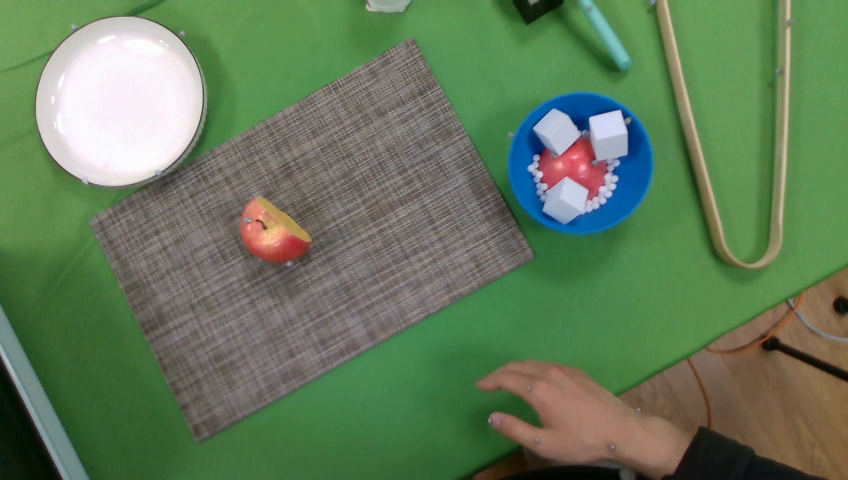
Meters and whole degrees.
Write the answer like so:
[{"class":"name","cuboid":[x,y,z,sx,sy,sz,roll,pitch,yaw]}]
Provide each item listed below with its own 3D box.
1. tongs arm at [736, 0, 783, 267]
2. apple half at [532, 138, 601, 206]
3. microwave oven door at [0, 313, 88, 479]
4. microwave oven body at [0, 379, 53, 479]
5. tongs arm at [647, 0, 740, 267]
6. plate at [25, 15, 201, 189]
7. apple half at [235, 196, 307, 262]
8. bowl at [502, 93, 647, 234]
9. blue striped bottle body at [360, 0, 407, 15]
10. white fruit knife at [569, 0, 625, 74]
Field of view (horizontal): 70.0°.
[{"class":"tongs arm","cuboid":[0.377,-0.161,0.684,0.051,0.026,0.384,1,87,4]},{"class":"apple half","cuboid":[0.160,-0.077,0.666,0.081,0.033,0.081,0,86,6]},{"class":"microwave oven door","cuboid":[-0.441,0.221,0.587,0.039,0.244,0.355,-31,85,1]},{"class":"microwave oven body","cuboid":[-0.588,0.260,0.598,0.326,0.260,0.440,-31,86,0]},{"class":"tongs arm","cuboid":[0.296,-0.156,0.691,0.028,0.028,0.386,-12,86,0]},{"class":"plate","cuboid":[-0.366,-0.161,0.727,0.207,0.039,0.207,0,86,3]},{"class":"apple half","cuboid":[-0.178,-0.005,0.684,0.081,0.074,0.053,41,95,2]},{"class":"bowl","cuboid":[0.160,-0.078,0.670,0.151,0.077,0.151,0,86,4]},{"class":"blue striped bottle body","cuboid":[-0.052,-0.306,0.675,0.063,0.121,0.063,0,85,4]},{"class":"white fruit knife","cuboid":[0.165,-0.273,0.677,0.016,0.027,0.208,-35,102,18]}]
